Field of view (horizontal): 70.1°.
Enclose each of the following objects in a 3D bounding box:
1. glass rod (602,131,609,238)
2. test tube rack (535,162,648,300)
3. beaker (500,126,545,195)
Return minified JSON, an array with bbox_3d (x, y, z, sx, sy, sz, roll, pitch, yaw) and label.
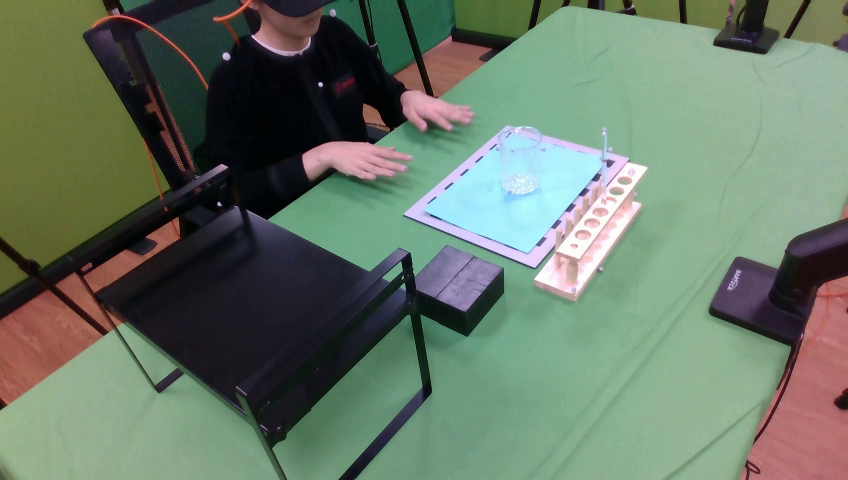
[{"bbox_3d":[0.262,-0.074,0.871,0.008,0.201,0.008,-9,43,9],"label":"glass rod"},{"bbox_3d":[0.257,-0.024,0.916,0.066,0.085,0.243,22,49,30],"label":"test tube rack"},{"bbox_3d":[0.169,-0.137,1.045,0.074,0.101,0.083,-8,40,0],"label":"beaker"}]
